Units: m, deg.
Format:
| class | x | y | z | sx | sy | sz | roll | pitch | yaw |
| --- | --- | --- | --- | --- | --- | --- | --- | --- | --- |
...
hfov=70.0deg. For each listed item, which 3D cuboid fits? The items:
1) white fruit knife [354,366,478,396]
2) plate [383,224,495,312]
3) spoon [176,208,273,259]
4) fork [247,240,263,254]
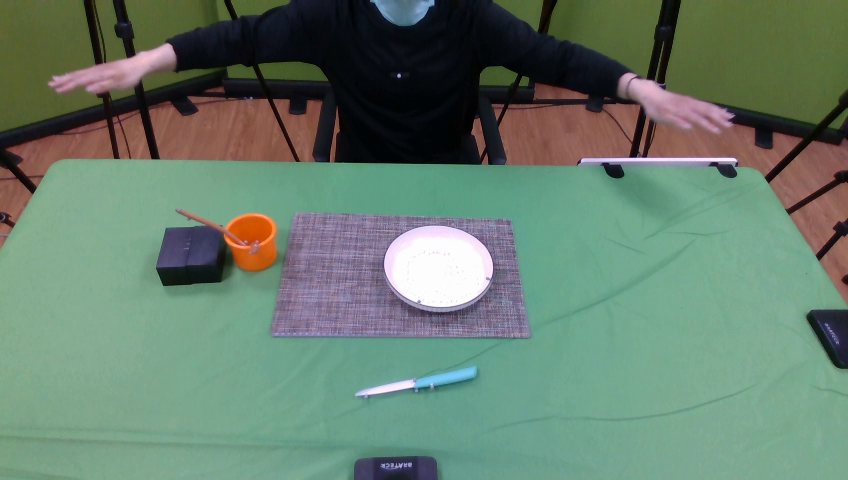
| class | x | y | z | sx | sy | sz | roll | pitch | yaw |
| --- | --- | --- | --- | --- | --- | --- | --- | --- | --- |
| white fruit knife | -0.010 | 0.231 | 0.978 | 0.208 | 0.016 | 0.027 | -9 | 19 | -10 |
| plate | 0.026 | 0.055 | 1.128 | 0.209 | 0.038 | 0.208 | 2 | 46 | -2 |
| spoon | -0.355 | -0.011 | 1.088 | 0.041 | 0.195 | 0.021 | 20 | 76 | 54 |
| fork | -0.301 | 0.011 | 1.075 | 0.028 | 0.018 | 0.207 | 4 | 0 | -15 |
